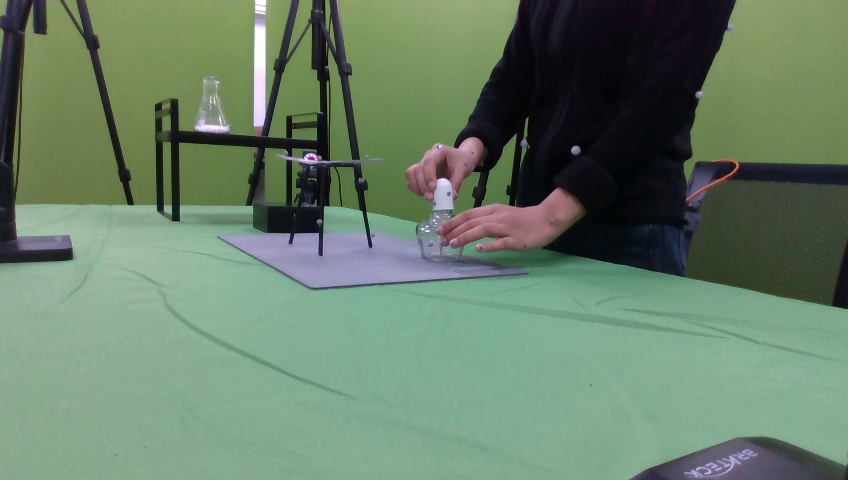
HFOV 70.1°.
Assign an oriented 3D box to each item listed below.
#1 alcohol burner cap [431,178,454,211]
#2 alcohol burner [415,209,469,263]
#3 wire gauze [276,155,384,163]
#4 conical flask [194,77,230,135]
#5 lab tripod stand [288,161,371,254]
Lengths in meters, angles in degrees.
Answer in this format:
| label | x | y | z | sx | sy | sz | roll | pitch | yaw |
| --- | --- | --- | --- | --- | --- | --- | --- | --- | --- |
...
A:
| label | x | y | z | sx | sy | sz | roll | pitch | yaw |
| --- | --- | --- | --- | --- | --- | --- | --- | --- | --- |
| alcohol burner cap | 0.026 | -0.064 | 0.857 | 0.034 | 0.048 | 0.034 | -3 | 3 | 0 |
| alcohol burner | 0.026 | -0.028 | 0.863 | 0.078 | 0.119 | 0.078 | 1 | 7 | 0 |
| wire gauze | -0.142 | -0.118 | 0.900 | 0.122 | 0.011 | 0.124 | -3 | 8 | -37 |
| conical flask | -0.461 | -0.292 | 1.317 | 0.075 | 0.122 | 0.075 | 2 | 7 | 0 |
| lab tripod stand | -0.148 | -0.052 | 0.909 | 0.148 | 0.131 | 0.148 | 1 | 8 | 0 |
